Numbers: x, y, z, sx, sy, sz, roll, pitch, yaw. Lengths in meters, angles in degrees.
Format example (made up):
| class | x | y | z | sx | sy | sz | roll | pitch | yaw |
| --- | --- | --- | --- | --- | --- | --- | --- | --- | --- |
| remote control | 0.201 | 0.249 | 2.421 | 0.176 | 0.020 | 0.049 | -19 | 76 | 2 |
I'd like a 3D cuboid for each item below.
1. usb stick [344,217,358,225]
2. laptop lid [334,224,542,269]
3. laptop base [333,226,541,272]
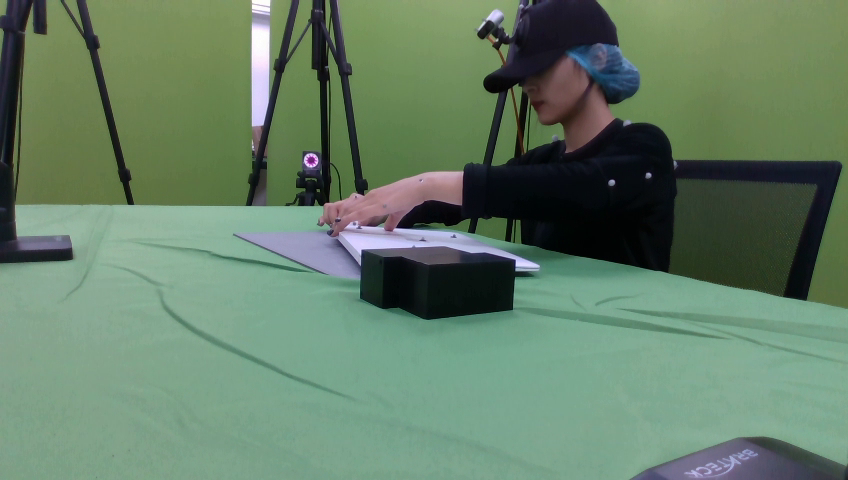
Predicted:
| class | x | y | z | sx | sy | sz | roll | pitch | yaw |
| --- | --- | --- | --- | --- | --- | --- | --- | --- | --- |
| usb stick | -0.129 | -0.025 | 1.072 | 0.021 | 0.027 | 0.059 | 1 | 10 | -11 |
| laptop lid | -0.001 | 0.004 | 0.903 | 0.242 | 0.013 | 0.355 | 4 | 7 | -14 |
| laptop base | -0.004 | 0.015 | 0.903 | 0.236 | 0.023 | 0.353 | 5 | 6 | -15 |
